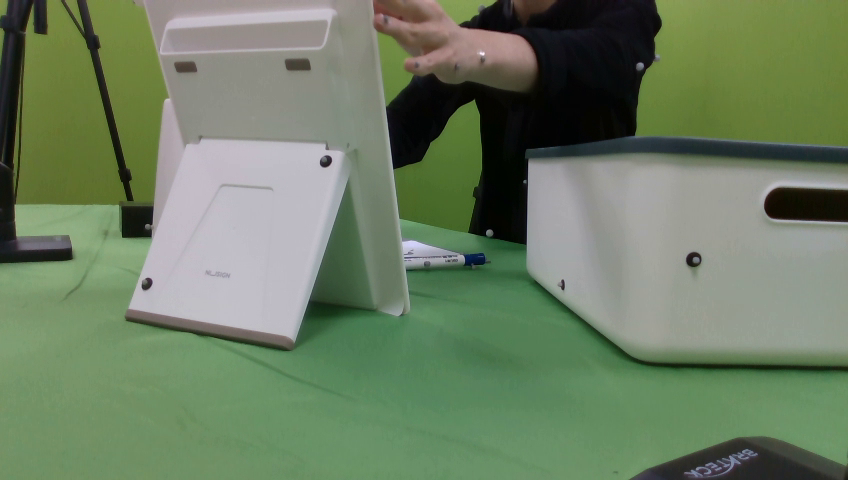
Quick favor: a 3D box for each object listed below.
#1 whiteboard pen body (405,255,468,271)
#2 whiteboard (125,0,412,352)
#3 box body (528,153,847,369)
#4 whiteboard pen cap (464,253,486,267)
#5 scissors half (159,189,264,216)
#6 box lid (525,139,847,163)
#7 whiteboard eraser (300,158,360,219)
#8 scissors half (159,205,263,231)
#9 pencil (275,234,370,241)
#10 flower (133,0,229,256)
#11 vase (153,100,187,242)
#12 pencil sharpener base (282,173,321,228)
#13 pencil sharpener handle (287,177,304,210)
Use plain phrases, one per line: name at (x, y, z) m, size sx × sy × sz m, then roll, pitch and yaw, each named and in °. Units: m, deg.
whiteboard pen body at (0.013, 0.030, 0.792) m, size 0.141 × 0.017 × 0.017 m, roll -3°, pitch 9°, yaw -24°
whiteboard at (-0.151, -0.049, 0.472) m, size 0.216 × 0.305 × 0.144 m, roll 6°, pitch 27°, yaw 24°
box body at (0.258, -0.005, 0.591) m, size 0.254 × 0.160 × 0.363 m, roll 2°, pitch 7°, yaw -4°
whiteboard pen cap at (0.066, 0.027, 0.818) m, size 0.033 × 0.018 × 0.018 m, roll -7°, pitch 11°, yaw -22°
scissors half at (-0.370, -0.062, 1.059) m, size 0.176 × 0.040 × 0.013 m, roll -11°, pitch 9°, yaw -26°
box lid at (0.261, -0.078, 0.580) m, size 0.264 × 0.015 × 0.371 m, roll 2°, pitch 7°, yaw -4°
whiteboard eraser at (-0.106, -0.054, 0.673) m, size 0.056 × 0.042 × 0.112 m, roll 6°, pitch -16°, yaw -14°
scissors half at (-0.371, -0.042, 1.062) m, size 0.176 × 0.040 × 0.012 m, roll 9°, pitch 5°, yaw -28°
pencil at (-0.169, -0.005, 1.036) m, size 0.195 × 0.012 × 0.012 m, roll -1°, pitch 8°, yaw -45°
flower at (-0.282, -0.146, 0.712) m, size 0.038 × 0.362 × 0.044 m, roll -23°, pitch 23°, yaw -31°
vase at (-0.278, -0.066, 0.736) m, size 0.098 × 0.200 × 0.098 m, roll 2°, pitch 8°, yaw 0°
pencil sharpener base at (-0.247, -0.080, 1.212) m, size 0.061 × 0.107 × 0.076 m, roll -2°, pitch 5°, yaw -28°
pencil sharpener handle at (-0.269, -0.096, 1.257) m, size 0.036 × 0.067 × 0.030 m, roll -8°, pitch 8°, yaw -27°
